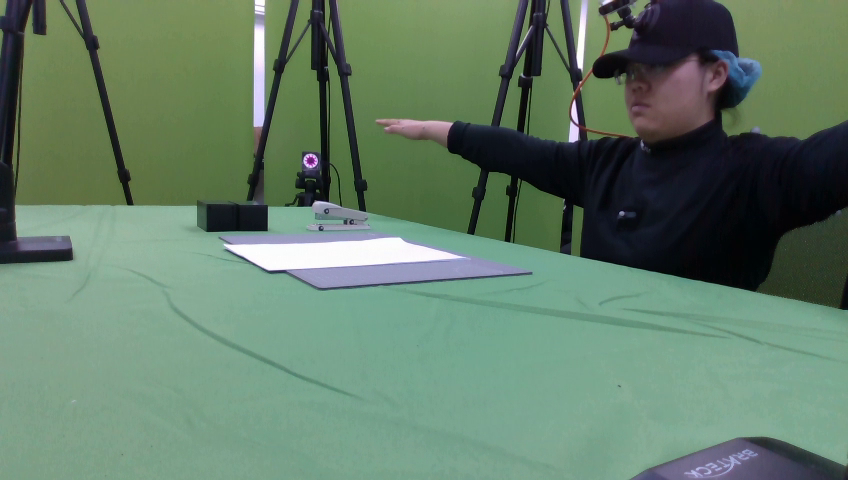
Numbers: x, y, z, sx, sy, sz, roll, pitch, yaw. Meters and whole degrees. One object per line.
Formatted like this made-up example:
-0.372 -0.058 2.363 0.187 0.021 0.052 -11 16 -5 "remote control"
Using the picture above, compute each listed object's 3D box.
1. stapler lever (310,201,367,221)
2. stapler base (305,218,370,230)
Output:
-0.171 -0.058 1.213 0.119 0.040 0.026 -1 11 -34 "stapler lever"
-0.173 -0.034 1.215 0.131 0.024 0.041 0 10 -35 "stapler base"
